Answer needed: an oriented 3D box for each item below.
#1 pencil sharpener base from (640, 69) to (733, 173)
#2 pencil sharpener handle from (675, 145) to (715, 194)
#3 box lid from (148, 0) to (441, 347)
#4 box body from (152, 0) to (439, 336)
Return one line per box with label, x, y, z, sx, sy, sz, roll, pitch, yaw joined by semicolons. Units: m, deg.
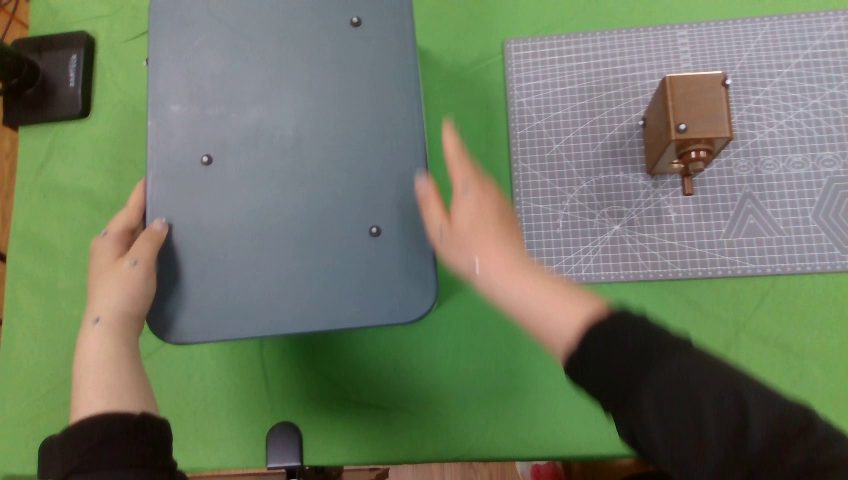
pencil sharpener base;0.267;-0.116;0.625;0.061;0.107;0.076;-2;78;7
pencil sharpener handle;0.268;-0.069;0.603;0.036;0.068;0.030;-4;78;13
box lid;-0.129;-0.096;0.563;0.263;0.015;0.369;-6;79;4
box body;-0.124;-0.084;0.642;0.254;0.161;0.362;-6;77;6
